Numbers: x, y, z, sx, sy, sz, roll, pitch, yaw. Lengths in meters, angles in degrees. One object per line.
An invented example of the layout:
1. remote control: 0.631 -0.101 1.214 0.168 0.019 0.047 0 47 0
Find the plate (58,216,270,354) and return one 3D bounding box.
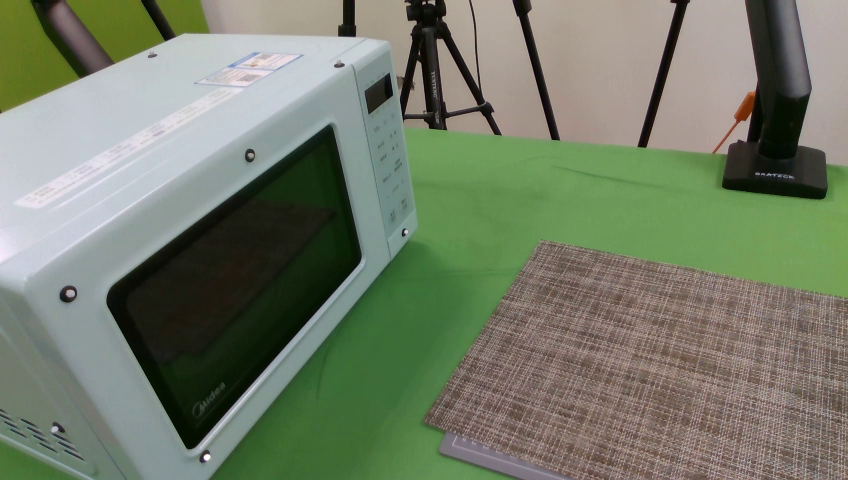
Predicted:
1. plate: -0.260 0.045 0.627 0.209 0.038 0.207 -6 34 5

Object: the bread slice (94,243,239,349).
1. bread slice: -0.263 0.048 0.631 0.104 0.019 0.131 18 46 32

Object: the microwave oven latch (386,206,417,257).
1. microwave oven latch: -0.035 -0.013 0.746 0.030 0.030 0.079 11 39 25

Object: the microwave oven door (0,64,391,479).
1. microwave oven door: -0.145 0.023 0.532 0.039 0.246 0.354 10 38 25

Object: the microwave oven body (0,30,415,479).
1. microwave oven body: -0.257 -0.018 0.626 0.324 0.262 0.440 10 39 25
